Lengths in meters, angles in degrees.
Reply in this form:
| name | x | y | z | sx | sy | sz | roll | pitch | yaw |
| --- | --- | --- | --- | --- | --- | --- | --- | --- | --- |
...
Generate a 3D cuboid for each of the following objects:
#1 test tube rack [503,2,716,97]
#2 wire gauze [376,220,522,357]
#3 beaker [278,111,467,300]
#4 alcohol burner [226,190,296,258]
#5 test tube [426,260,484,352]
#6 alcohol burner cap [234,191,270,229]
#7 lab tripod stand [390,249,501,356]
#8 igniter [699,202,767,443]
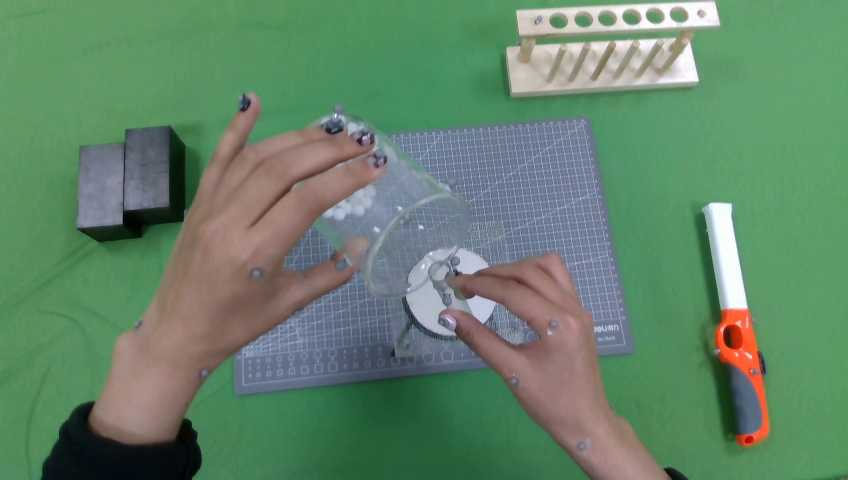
| name | x | y | z | sx | sy | sz | roll | pitch | yaw |
| --- | --- | --- | --- | --- | --- | --- | --- | --- | --- |
| test tube rack | 0.228 | -0.235 | 0.754 | 0.242 | 0.085 | 0.066 | -4 | 74 | -3 |
| wire gauze | 0.023 | 0.043 | 0.569 | 0.125 | 0.011 | 0.120 | -7 | 73 | -4 |
| beaker | -0.033 | -0.023 | 0.361 | 0.074 | 0.085 | 0.099 | -45 | 61 | -1 |
| alcohol burner | -0.182 | -0.023 | 0.661 | 0.078 | 0.120 | 0.077 | 0 | 72 | -1 |
| test tube | 0.025 | 0.053 | 0.437 | 0.017 | 0.152 | 0.017 | -6 | 62 | 12 |
| alcohol burner cap | -0.179 | -0.033 | 0.626 | 0.034 | 0.048 | 0.033 | 2 | 75 | -6 |
| lab tripod stand | 0.019 | 0.066 | 0.633 | 0.148 | 0.132 | 0.147 | 0 | 73 | 0 |
| igniter | 0.354 | 0.089 | 0.697 | 0.057 | 0.025 | 0.275 | 2 | 74 | -12 |
